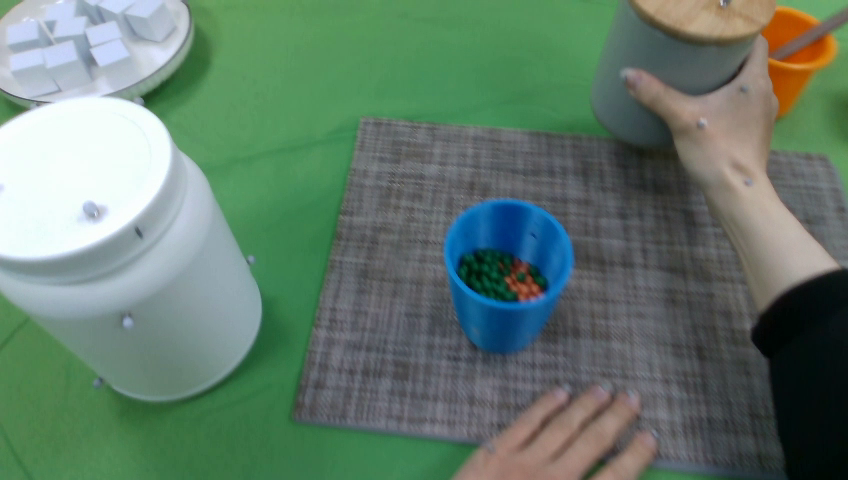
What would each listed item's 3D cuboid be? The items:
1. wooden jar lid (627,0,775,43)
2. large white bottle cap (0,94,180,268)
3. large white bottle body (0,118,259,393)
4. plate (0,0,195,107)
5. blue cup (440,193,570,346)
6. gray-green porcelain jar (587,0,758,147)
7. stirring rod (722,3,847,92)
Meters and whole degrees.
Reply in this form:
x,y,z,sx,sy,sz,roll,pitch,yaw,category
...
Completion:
x,y,z,sx,sy,sz,roll,pitch,yaw,category
0.198,-0.178,0.444,0.108,0.021,0.107,1,57,-1,wooden jar lid
-0.195,-0.036,0.333,0.115,0.018,0.113,0,56,0,large white bottle cap
-0.195,0.011,0.403,0.130,0.186,0.129,0,57,0,large white bottle body
-0.342,-0.204,0.633,0.208,0.039,0.205,0,57,0,plate
0.054,0.030,0.439,0.092,0.101,0.092,-1,57,2,blue cup
0.197,-0.148,0.498,0.106,0.127,0.105,1,61,-1,gray-green porcelain jar
0.362,-0.193,0.571,0.176,0.006,0.014,-32,52,30,stirring rod
